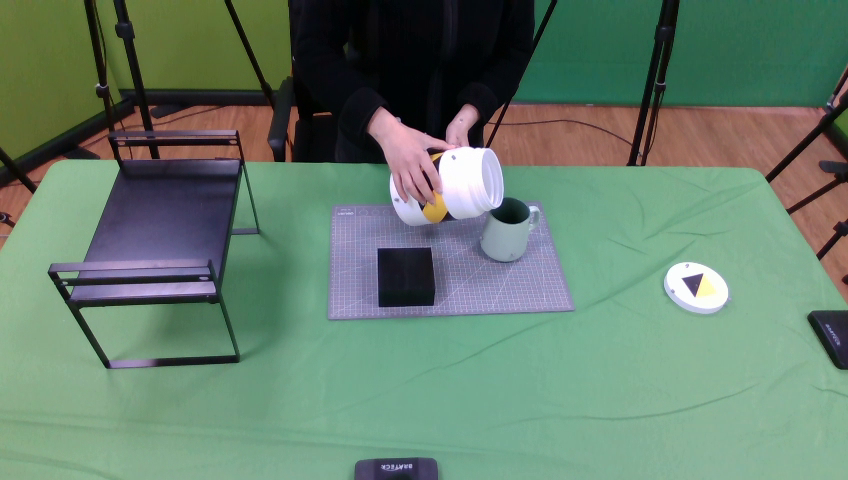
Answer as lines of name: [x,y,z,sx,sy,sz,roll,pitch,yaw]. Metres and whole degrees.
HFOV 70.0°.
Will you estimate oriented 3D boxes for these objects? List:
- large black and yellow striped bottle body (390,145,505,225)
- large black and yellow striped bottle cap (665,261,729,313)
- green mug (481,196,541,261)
large black and yellow striped bottle body: [0.045,-0.102,1.119,0.183,0.131,0.130,-7,41,27]
large black and yellow striped bottle cap: [0.518,0.087,1.152,0.115,0.019,0.114,2,47,-2]
green mug: [0.173,-0.027,1.173,0.125,0.105,0.092,-22,51,-23]
